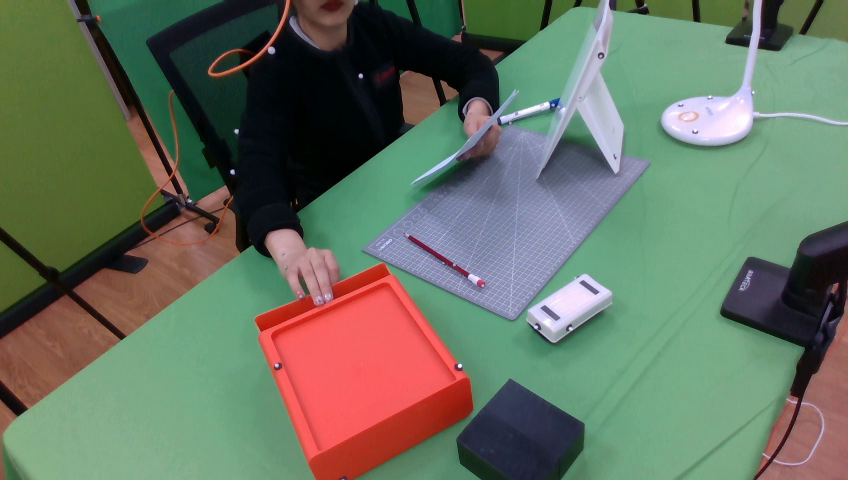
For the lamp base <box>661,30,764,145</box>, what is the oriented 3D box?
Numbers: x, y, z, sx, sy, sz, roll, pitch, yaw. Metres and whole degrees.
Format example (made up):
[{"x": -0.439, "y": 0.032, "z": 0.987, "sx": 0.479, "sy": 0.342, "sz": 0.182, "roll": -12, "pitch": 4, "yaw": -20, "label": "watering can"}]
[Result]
[{"x": 0.535, "y": -0.287, "z": 1.096, "sx": 0.179, "sy": 0.181, "sz": 0.159, "roll": -10, "pitch": 40, "yaw": -4, "label": "lamp base"}]

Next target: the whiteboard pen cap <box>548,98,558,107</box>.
[{"x": 0.273, "y": -0.287, "z": 1.259, "sx": 0.033, "sy": 0.018, "sz": 0.018, "roll": -12, "pitch": 40, "yaw": -8, "label": "whiteboard pen cap"}]

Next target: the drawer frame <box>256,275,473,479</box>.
[{"x": -0.078, "y": 0.164, "z": 0.756, "sx": 0.202, "sy": 0.083, "sz": 0.211, "roll": -23, "pitch": 43, "yaw": -17, "label": "drawer frame"}]

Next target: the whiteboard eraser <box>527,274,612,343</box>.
[{"x": 0.198, "y": 0.094, "z": 0.820, "sx": 0.113, "sy": 0.042, "sz": 0.055, "roll": -29, "pitch": 43, "yaw": -22, "label": "whiteboard eraser"}]

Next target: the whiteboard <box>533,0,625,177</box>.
[{"x": 0.321, "y": -0.258, "z": 1.049, "sx": 0.144, "sy": 0.306, "sz": 0.217, "roll": 20, "pitch": 45, "yaw": 4, "label": "whiteboard"}]

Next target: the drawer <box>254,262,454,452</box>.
[{"x": -0.094, "y": 0.145, "z": 0.781, "sx": 0.195, "sy": 0.073, "sz": 0.210, "roll": -22, "pitch": 42, "yaw": -17, "label": "drawer"}]

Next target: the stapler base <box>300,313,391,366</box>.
[{"x": -0.110, "y": 0.129, "z": 0.836, "sx": 0.131, "sy": 0.024, "sz": 0.041, "roll": -25, "pitch": 27, "yaw": -18, "label": "stapler base"}]

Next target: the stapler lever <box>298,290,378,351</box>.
[{"x": -0.118, "y": 0.107, "z": 0.822, "sx": 0.118, "sy": 0.040, "sz": 0.026, "roll": -26, "pitch": 27, "yaw": -17, "label": "stapler lever"}]

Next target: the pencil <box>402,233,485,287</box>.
[{"x": 0.026, "y": 0.027, "z": 0.949, "sx": 0.012, "sy": 0.012, "sz": 0.192, "roll": -34, "pitch": 44, "yaw": -26, "label": "pencil"}]

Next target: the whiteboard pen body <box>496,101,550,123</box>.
[{"x": 0.217, "y": -0.269, "z": 1.255, "sx": 0.141, "sy": 0.017, "sz": 0.017, "roll": -18, "pitch": 41, "yaw": -5, "label": "whiteboard pen body"}]
